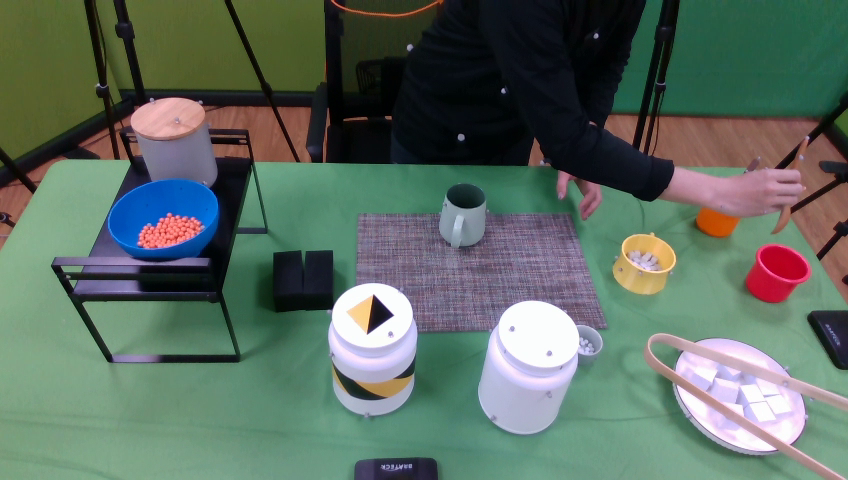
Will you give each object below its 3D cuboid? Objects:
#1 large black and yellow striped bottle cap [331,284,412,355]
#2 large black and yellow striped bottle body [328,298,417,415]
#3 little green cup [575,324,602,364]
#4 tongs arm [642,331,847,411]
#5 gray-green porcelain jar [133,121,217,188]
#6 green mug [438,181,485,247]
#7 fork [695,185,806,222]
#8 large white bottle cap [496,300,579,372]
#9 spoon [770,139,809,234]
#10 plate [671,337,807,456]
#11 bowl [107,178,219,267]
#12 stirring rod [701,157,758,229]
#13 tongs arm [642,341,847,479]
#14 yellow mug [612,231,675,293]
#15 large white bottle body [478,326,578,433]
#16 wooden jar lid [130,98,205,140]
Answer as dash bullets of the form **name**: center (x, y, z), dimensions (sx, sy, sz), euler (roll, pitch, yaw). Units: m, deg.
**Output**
- **large black and yellow striped bottle cap**: center (-0.073, 0.110, 0.858), dimensions (0.115, 0.019, 0.114), euler (2, 46, -2)
- **large black and yellow striped bottle body**: center (-0.078, 0.167, 0.920), dimensions (0.131, 0.185, 0.130), euler (2, 46, -2)
- **little green cup**: center (0.269, 0.179, 1.036), dimensions (0.061, 0.039, 0.061), euler (3, 46, -2)
- **tongs arm**: center (0.546, 0.227, 0.968), dimensions (0.384, 0.026, 0.050), euler (22, 52, 13)
- **gray-green porcelain jar**: center (-0.397, -0.141, 0.980), dimensions (0.106, 0.127, 0.105), euler (2, 47, -2)
- **green mug**: center (0.071, -0.039, 1.177), dimensions (0.092, 0.105, 0.124), euler (12, 47, 7)
- **fork**: center (0.658, -0.074, 1.229), dimensions (0.207, 0.019, 0.028), euler (-23, 35, 37)
- **large white bottle cap**: center (0.159, 0.133, 0.852), dimensions (0.115, 0.018, 0.114), euler (3, 46, -3)
- **spoon**: center (0.619, -0.086, 1.027), dimensions (0.041, 0.195, 0.021), euler (-31, 42, -23)
- **plate**: center (0.503, 0.254, 0.984), dimensions (0.208, 0.039, 0.206), euler (2, 46, -2)
- **bowl**: center (-0.374, -0.014, 0.893), dimensions (0.151, 0.077, 0.150), euler (2, 46, -2)
- **stirring rod**: center (0.634, -0.097, 1.257), dimensions (0.014, 0.006, 0.176), euler (38, 97, 29)
- **tongs arm**: center (0.504, 0.278, 0.918), dimensions (0.386, 0.028, 0.028), euler (34, 59, 22)
- **yellow mug**: center (0.424, 0.033, 1.168), dimensions (0.100, 0.064, 0.130), euler (18, 46, 14)
- **large white bottle body**: center (0.156, 0.192, 0.913), dimensions (0.131, 0.185, 0.130), euler (2, 46, -2)
- **wooden jar lid**: center (-0.393, -0.183, 0.934), dimensions (0.108, 0.021, 0.107), euler (3, 44, -2)
